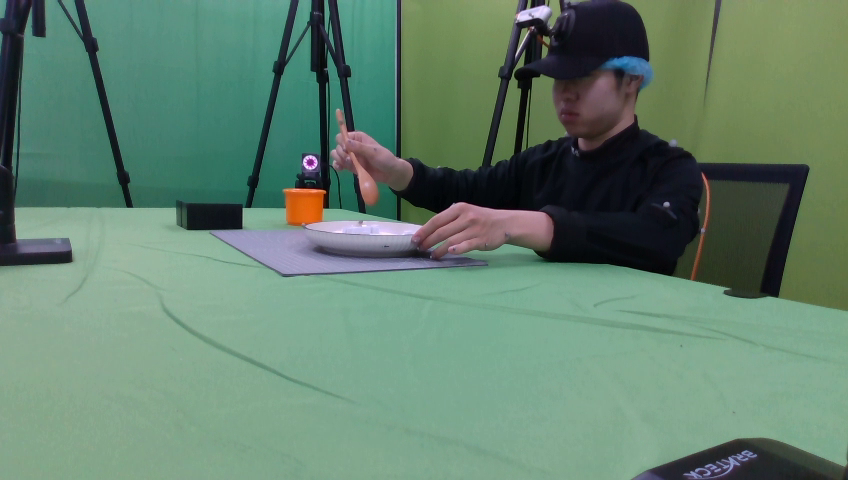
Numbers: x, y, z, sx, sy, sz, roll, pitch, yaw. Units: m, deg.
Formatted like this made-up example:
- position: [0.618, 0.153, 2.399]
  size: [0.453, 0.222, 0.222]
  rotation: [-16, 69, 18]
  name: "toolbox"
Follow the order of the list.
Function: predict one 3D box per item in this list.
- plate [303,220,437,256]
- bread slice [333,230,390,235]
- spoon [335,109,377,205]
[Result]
- position: [-0.084, -0.003, 0.951]
  size: [0.209, 0.038, 0.209]
  rotation: [3, 7, 0]
  name: "plate"
- position: [-0.088, -0.001, 0.947]
  size: [0.105, 0.019, 0.131]
  rotation: [-4, 10, -44]
  name: "bread slice"
- position: [-0.126, -0.149, 1.066]
  size: [0.042, 0.193, 0.021]
  rotation: [-4, -27, -48]
  name: "spoon"
